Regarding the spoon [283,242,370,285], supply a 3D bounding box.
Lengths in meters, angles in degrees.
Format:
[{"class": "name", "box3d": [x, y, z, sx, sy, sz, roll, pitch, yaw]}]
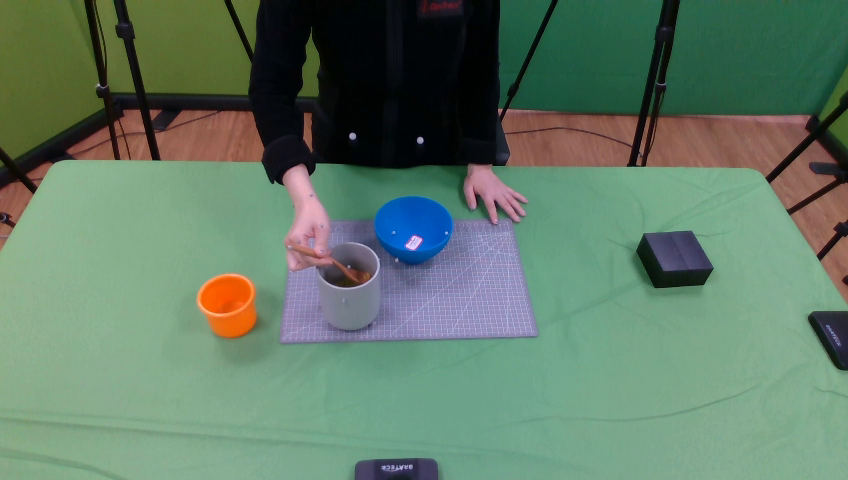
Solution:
[{"class": "spoon", "box3d": [-0.154, 0.036, 0.983, 0.021, 0.195, 0.041, -45, 49, 9]}]

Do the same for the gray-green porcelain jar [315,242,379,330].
[{"class": "gray-green porcelain jar", "box3d": [-0.129, 0.084, 1.031, 0.106, 0.127, 0.105, 2, 46, -2]}]

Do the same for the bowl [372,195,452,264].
[{"class": "bowl", "box3d": [-0.023, -0.008, 1.161, 0.151, 0.077, 0.150, 2, 46, -2]}]
